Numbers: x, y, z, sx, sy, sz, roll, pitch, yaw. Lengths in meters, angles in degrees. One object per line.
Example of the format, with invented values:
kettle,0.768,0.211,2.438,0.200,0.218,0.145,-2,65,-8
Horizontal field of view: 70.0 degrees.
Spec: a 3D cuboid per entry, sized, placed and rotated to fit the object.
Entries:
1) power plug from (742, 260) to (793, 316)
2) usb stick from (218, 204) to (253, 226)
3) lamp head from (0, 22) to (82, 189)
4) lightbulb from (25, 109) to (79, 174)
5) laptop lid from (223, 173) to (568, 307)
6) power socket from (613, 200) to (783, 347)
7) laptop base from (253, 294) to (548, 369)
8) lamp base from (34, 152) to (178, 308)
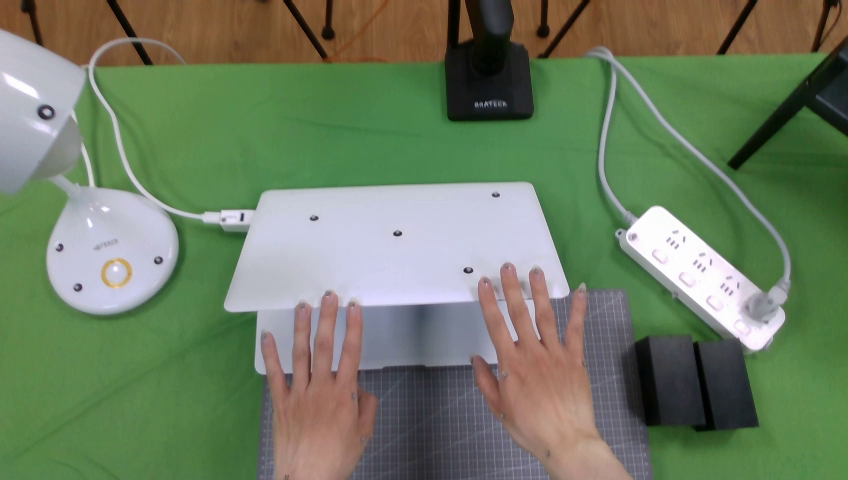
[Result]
power plug,0.416,0.063,0.728,0.072,0.053,0.035,-32,74,-12
usb stick,-0.227,-0.031,0.768,0.059,0.027,0.021,2,65,-4
lamp head,-0.324,-0.111,0.420,0.124,0.112,0.112,31,67,-35
lightbulb,-0.305,-0.091,0.435,0.059,0.109,0.059,-24,47,29
laptop lid,-0.032,-0.011,0.697,0.357,0.013,0.239,-1,37,-1
power socket,0.343,0.040,0.759,0.072,0.033,0.225,-43,77,-14
laptop base,-0.031,0.037,0.762,0.354,0.023,0.234,-2,73,-2
lamp base,-0.397,-0.028,0.689,0.160,0.181,0.178,-32,72,-11
